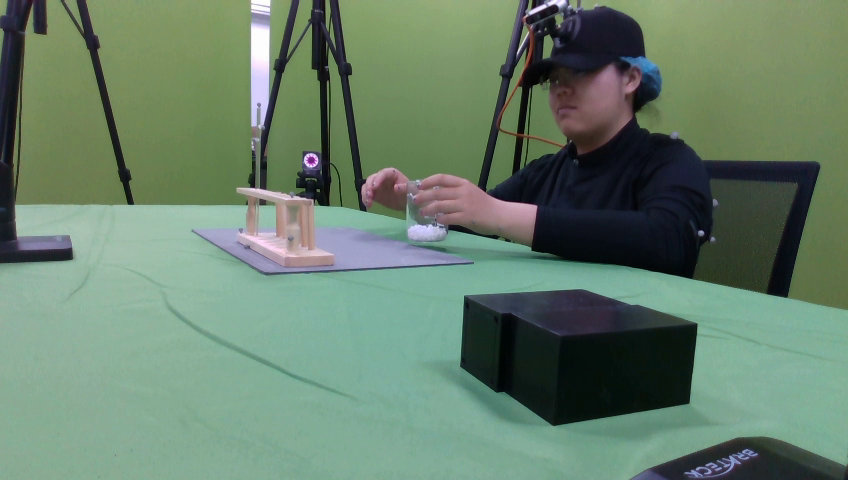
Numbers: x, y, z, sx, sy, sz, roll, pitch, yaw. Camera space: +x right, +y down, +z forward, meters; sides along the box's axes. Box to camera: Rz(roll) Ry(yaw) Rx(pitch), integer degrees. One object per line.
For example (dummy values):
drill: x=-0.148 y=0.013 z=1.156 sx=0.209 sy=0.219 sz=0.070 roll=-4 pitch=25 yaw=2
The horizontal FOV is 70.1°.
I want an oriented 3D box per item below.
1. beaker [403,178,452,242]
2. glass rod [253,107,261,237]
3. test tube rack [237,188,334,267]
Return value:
beaker: x=0.008 y=-0.050 z=0.993 sx=0.083 sy=0.100 sz=0.074 roll=6 pitch=11 yaw=32
glass rod: x=-0.251 y=-0.100 z=0.912 sx=0.008 sy=0.199 sz=0.008 roll=3 pitch=3 yaw=0
test tube rack: x=-0.202 y=-0.024 z=0.855 sx=0.067 sy=0.085 sz=0.241 roll=-2 pitch=8 yaw=-30
